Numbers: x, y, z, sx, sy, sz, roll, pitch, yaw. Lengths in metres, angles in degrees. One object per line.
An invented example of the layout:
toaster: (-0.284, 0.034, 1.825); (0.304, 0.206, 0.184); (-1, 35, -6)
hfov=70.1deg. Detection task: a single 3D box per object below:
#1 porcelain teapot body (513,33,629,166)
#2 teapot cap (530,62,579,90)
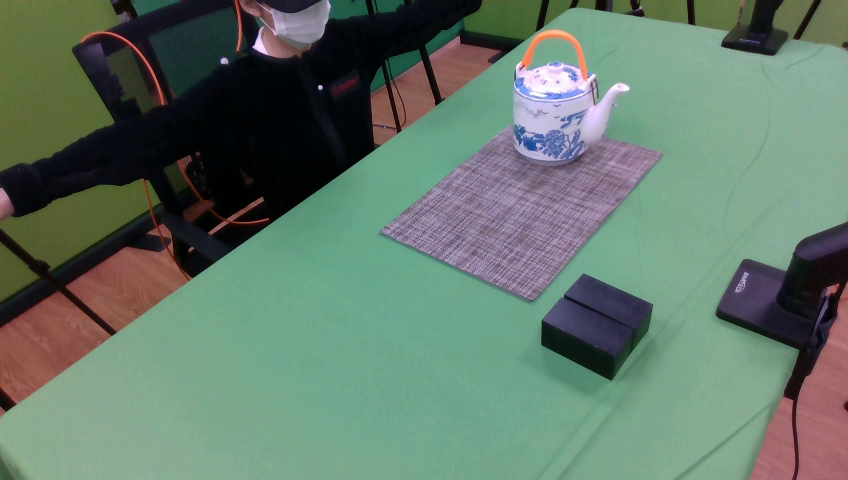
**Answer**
porcelain teapot body: (0.256, -0.248, 1.065); (0.204, 0.226, 0.145); (18, 47, 28)
teapot cap: (0.228, -0.286, 1.054); (0.085, 0.044, 0.085); (-3, 40, 3)
